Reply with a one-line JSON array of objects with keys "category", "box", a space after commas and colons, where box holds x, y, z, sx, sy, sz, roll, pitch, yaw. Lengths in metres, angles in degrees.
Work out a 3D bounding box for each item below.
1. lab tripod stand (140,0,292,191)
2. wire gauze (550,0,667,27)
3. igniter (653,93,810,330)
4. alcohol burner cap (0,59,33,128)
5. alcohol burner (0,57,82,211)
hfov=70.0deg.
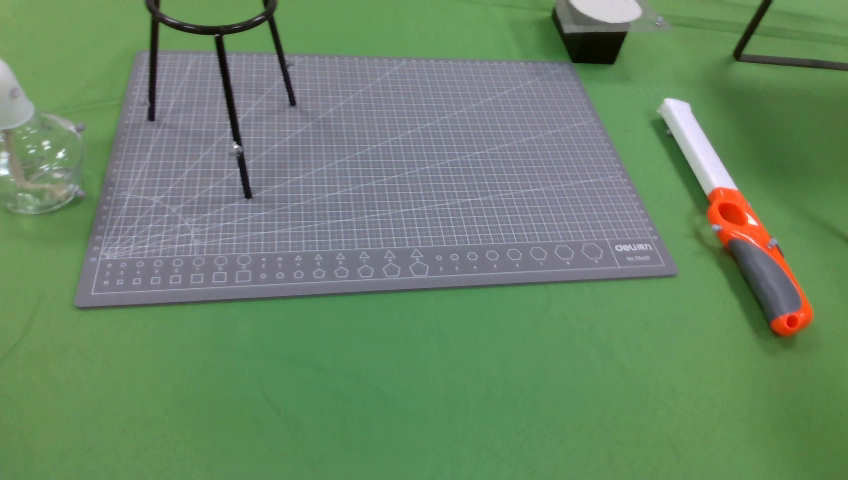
[{"category": "lab tripod stand", "box": [-0.158, -0.133, 0.473, 0.149, 0.132, 0.147, 6, 50, -7]}, {"category": "wire gauze", "box": [0.192, -0.271, 0.672, 0.122, 0.011, 0.123, -1, 51, -12]}, {"category": "igniter", "box": [0.268, -0.039, 0.544, 0.057, 0.025, 0.273, 7, 50, -18]}, {"category": "alcohol burner cap", "box": [-0.282, -0.100, 0.394, 0.034, 0.048, 0.033, 4, 56, -6]}, {"category": "alcohol burner", "box": [-0.287, -0.078, 0.422, 0.078, 0.120, 0.077, 6, 48, -6]}]
